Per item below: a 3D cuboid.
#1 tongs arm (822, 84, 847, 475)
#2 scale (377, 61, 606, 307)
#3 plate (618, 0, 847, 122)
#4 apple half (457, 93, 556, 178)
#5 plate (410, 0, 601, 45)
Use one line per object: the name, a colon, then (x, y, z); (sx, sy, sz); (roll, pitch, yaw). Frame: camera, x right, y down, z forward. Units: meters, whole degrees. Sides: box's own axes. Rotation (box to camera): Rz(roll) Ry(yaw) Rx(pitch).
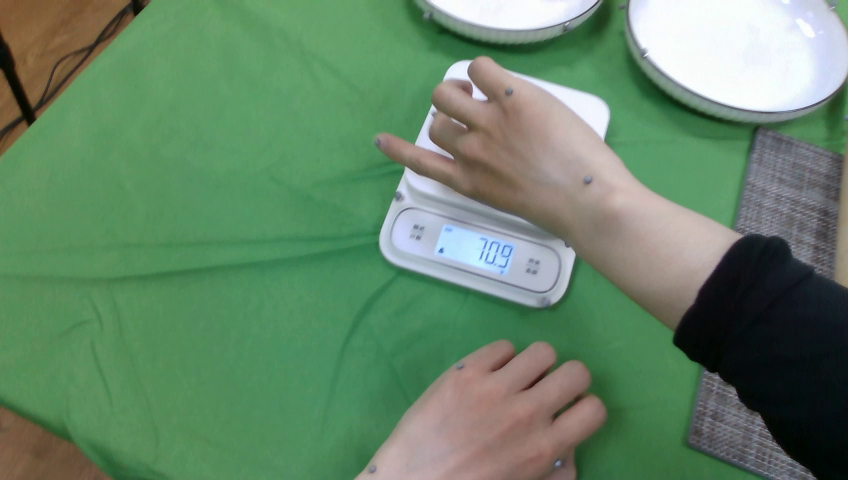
tongs arm: (0.342, -0.008, 0.480); (0.028, 0.028, 0.385); (21, 62, 4)
scale: (0.059, -0.053, 0.493); (0.148, 0.032, 0.199); (17, 62, 7)
plate: (0.286, -0.189, 0.575); (0.209, 0.038, 0.207); (1, 61, -2)
apple half: (0.070, -0.089, 0.478); (0.081, 0.033, 0.080); (1, 60, -2)
plate: (0.077, -0.267, 0.606); (0.208, 0.039, 0.206); (1, 61, -2)
